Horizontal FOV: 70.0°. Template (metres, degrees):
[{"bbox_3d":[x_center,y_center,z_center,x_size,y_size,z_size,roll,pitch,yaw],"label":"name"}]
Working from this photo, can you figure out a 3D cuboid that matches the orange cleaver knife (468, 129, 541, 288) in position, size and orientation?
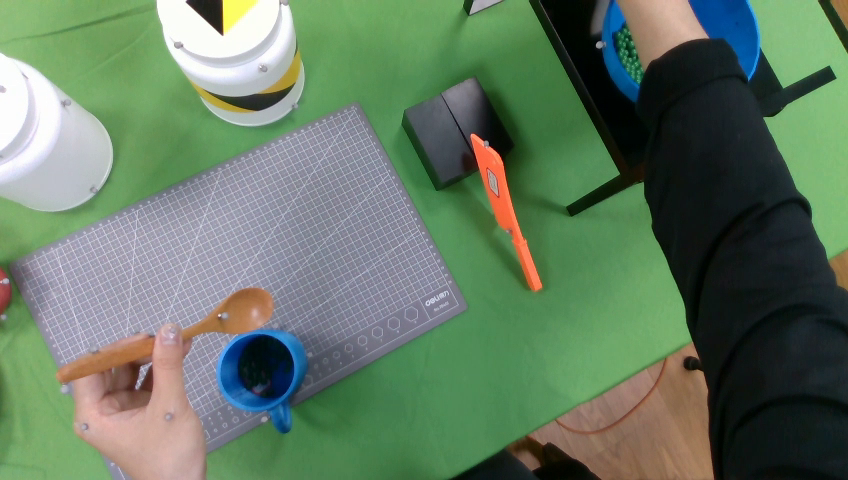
[{"bbox_3d":[0.097,-0.036,0.734,0.012,0.076,0.213,-29,118,-10],"label":"orange cleaver knife"}]

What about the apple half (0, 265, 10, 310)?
[{"bbox_3d":[-0.489,0.063,0.658,0.081,0.074,0.053,-42,93,-13],"label":"apple half"}]

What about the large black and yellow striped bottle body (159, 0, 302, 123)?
[{"bbox_3d":[-0.209,-0.218,0.669,0.131,0.184,0.130,1,82,-6],"label":"large black and yellow striped bottle body"}]

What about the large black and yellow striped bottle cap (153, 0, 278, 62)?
[{"bbox_3d":[-0.201,-0.231,0.587,0.115,0.019,0.114,1,84,-8],"label":"large black and yellow striped bottle cap"}]

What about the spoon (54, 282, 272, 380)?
[{"bbox_3d":[-0.188,0.069,0.469,0.021,0.194,0.042,8,102,23],"label":"spoon"}]

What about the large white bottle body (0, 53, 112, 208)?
[{"bbox_3d":[-0.426,-0.112,0.630,0.131,0.185,0.130,1,82,-6],"label":"large white bottle body"}]

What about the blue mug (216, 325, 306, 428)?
[{"bbox_3d":[-0.170,0.151,0.668,0.082,0.106,0.116,-19,86,-9],"label":"blue mug"}]

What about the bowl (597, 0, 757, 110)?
[{"bbox_3d":[0.232,-0.190,0.592,0.151,0.077,0.151,1,83,-6],"label":"bowl"}]

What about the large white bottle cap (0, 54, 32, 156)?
[{"bbox_3d":[-0.418,-0.123,0.546,0.115,0.018,0.114,1,83,-6],"label":"large white bottle cap"}]
